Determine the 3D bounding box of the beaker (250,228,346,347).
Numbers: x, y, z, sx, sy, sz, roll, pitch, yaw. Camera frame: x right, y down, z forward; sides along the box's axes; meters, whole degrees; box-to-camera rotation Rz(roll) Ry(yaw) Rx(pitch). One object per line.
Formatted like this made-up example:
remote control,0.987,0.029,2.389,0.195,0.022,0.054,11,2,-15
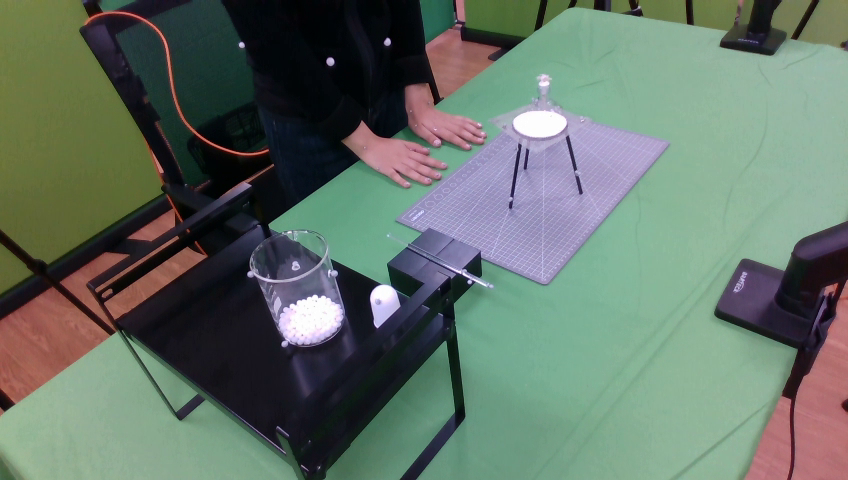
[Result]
beaker,-0.120,0.048,0.598,0.074,0.101,0.083,-9,40,-1

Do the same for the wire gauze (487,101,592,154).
wire gauze,0.185,-0.187,0.974,0.122,0.011,0.124,-27,44,-23

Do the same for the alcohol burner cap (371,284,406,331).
alcohol burner cap,-0.037,0.066,0.608,0.034,0.048,0.033,-4,42,4

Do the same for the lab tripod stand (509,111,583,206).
lab tripod stand,0.197,-0.139,1.020,0.148,0.132,0.147,-3,39,3

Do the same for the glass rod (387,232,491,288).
glass rod,0.017,0.027,0.877,0.198,0.008,0.008,26,51,34

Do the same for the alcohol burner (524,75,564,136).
alcohol burner,0.232,-0.263,1.175,0.078,0.119,0.077,-6,39,5
